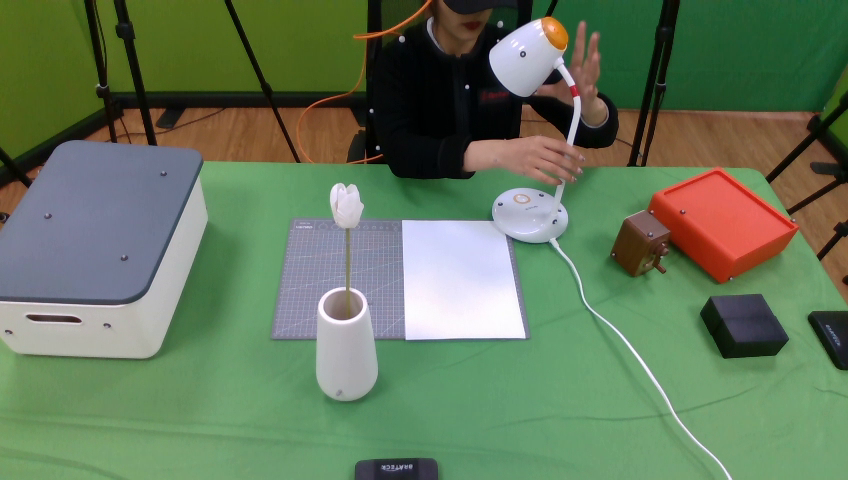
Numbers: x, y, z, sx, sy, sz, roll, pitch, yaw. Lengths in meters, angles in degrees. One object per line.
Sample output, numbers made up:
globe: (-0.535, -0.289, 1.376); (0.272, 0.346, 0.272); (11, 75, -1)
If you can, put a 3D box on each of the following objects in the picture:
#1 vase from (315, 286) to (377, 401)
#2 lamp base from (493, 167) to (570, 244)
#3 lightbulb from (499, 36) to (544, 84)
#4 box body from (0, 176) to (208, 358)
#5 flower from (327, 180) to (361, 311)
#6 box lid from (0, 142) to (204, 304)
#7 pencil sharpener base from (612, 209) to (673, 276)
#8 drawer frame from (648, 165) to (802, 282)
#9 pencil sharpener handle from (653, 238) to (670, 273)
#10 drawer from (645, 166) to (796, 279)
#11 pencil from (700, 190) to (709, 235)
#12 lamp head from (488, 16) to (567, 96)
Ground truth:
vase: (-0.119, 0.159, 0.911); (0.098, 0.201, 0.097); (2, 47, -2)
lamp base: (0.234, -0.101, 1.200); (0.161, 0.181, 0.178); (-23, 54, -25)
lightbulb: (0.179, -0.327, 1.090); (0.060, 0.108, 0.059); (13, 60, -23)
box body: (-0.546, 0.017, 1.045); (0.254, 0.161, 0.361); (2, 46, -2)
flower: (-0.110, 0.086, 0.867); (0.044, 0.363, 0.038); (22, 33, 36)
box lid: (-0.534, -0.044, 0.995); (0.263, 0.015, 0.369); (3, 45, -3)
pencil sharpener base: (0.416, 0.007, 1.158); (0.061, 0.107, 0.076); (-21, 51, -22)
drawer frame: (0.603, -0.040, 1.233); (0.202, 0.083, 0.212); (-21, 51, -23)
pencil sharpener handle: (0.444, 0.030, 1.120); (0.036, 0.068, 0.030); (-25, 52, -18)
drawer: (0.600, -0.040, 1.236); (0.195, 0.073, 0.210); (-21, 52, -23)
pencil: (0.583, -0.058, 1.257); (0.012, 0.012, 0.193); (16, 35, 12)
lamp head: (0.193, -0.330, 1.070); (0.113, 0.123, 0.112); (19, 59, -34)
